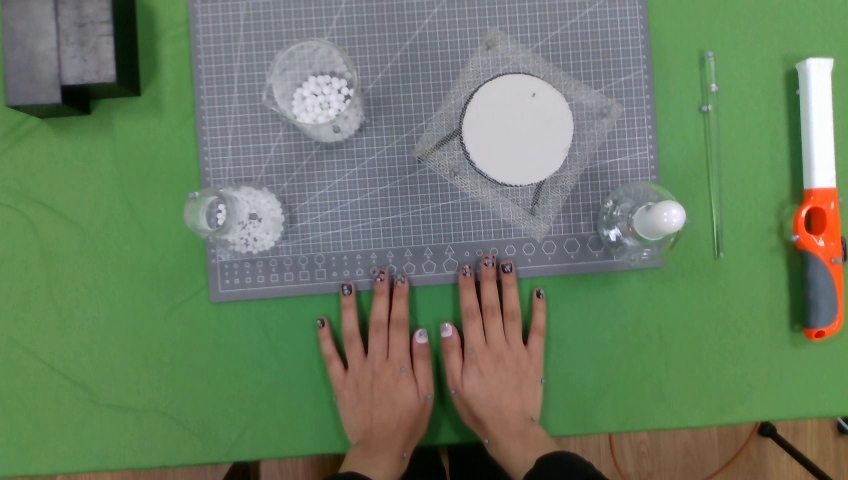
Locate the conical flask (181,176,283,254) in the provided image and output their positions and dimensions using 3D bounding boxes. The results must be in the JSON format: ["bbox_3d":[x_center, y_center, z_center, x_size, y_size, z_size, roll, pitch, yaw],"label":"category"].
[{"bbox_3d":[-0.172,-0.024,0.533,0.075,0.122,0.075,0,90,-2],"label":"conical flask"}]

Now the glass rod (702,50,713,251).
[{"bbox_3d":[0.284,-0.088,0.605,0.008,0.008,0.200,-3,93,-2],"label":"glass rod"}]

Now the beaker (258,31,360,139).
[{"bbox_3d":[-0.098,-0.132,0.546,0.084,0.100,0.074,-21,90,-1],"label":"beaker"}]

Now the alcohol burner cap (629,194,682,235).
[{"bbox_3d":[0.198,-0.024,0.512,0.034,0.048,0.034,0,84,-4],"label":"alcohol burner cap"}]

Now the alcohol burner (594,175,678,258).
[{"bbox_3d":[0.197,-0.022,0.548,0.078,0.119,0.078,0,90,1],"label":"alcohol burner"}]

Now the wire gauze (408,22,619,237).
[{"bbox_3d":[0.069,-0.086,0.467,0.125,0.011,0.121,33,91,-1],"label":"wire gauze"}]

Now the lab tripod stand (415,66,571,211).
[{"bbox_3d":[0.065,-0.089,0.534,0.148,0.131,0.148,0,92,0],"label":"lab tripod stand"}]

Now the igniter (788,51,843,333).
[{"bbox_3d":[0.386,-0.047,0.599,0.057,0.025,0.276,-3,91,-12],"label":"igniter"}]
